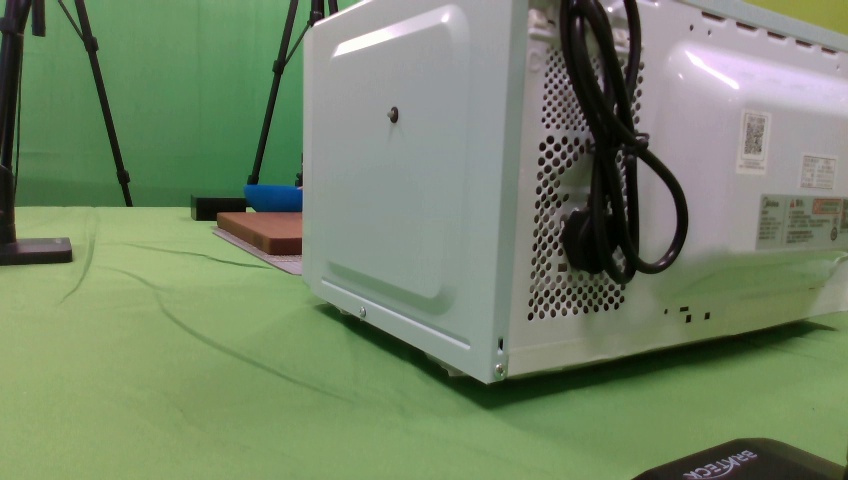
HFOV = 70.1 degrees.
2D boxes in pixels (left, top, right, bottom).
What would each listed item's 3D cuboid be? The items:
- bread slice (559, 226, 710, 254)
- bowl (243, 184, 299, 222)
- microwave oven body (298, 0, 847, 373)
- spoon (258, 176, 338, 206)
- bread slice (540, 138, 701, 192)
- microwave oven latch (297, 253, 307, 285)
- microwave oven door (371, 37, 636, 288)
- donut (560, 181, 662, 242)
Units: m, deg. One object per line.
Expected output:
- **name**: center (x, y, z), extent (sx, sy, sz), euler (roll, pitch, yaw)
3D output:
- **bread slice**: center (0.206, -0.002, 0.580), extent (0.105, 0.019, 0.131), euler (4, 2, -15)
- **bowl**: center (-0.321, -0.081, 1.334), extent (0.151, 0.077, 0.151), euler (3, 7, 0)
- **microwave oven body**: center (0.151, -0.055, 0.543), extent (0.444, 0.260, 0.324), euler (-1, 7, -33)
- **spoon**: center (-0.279, -0.112, 1.357), extent (0.194, 0.021, 0.041), euler (-28, 19, -27)
- **bread slice**: center (0.196, -0.073, 0.588), extent (0.107, 0.018, 0.133), euler (-2, 21, -38)
- **microwave oven latch**: center (-0.082, 0.027, 0.583), extent (0.079, 0.029, 0.030), euler (-1, 8, -33)
- **microwave oven door**: center (0.110, -0.080, 0.687), extent (0.358, 0.243, 0.039), euler (-2, 9, -33)
- **donut**: center (0.186, -0.029, 0.604), extent (0.099, 0.048, 0.099), euler (11, -9, 2)
